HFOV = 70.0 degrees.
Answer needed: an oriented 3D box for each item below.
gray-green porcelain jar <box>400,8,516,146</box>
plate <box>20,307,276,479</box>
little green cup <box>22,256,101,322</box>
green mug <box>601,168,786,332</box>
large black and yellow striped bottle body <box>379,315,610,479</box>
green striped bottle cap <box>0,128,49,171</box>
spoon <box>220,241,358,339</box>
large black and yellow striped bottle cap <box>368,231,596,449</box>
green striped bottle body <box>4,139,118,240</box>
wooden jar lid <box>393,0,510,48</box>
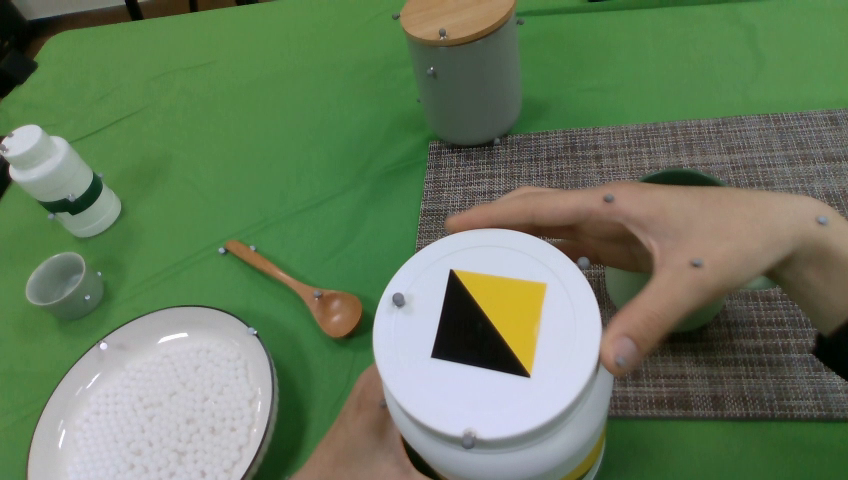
[{"bbox_3d":[0.038,-0.167,0.608,0.106,0.128,0.105,-6,49,8],"label":"gray-green porcelain jar"},{"bbox_3d":[-0.216,0.152,0.493,0.209,0.038,0.207,-6,53,9],"label":"plate"},{"bbox_3d":[-0.356,0.050,0.599,0.061,0.039,0.061,-7,52,9],"label":"little green cup"},{"bbox_3d":[0.198,0.011,0.452,0.125,0.106,0.092,5,56,17],"label":"green mug"},{"bbox_3d":[0.046,0.092,0.380,0.130,0.186,0.129,-6,58,10],"label":"large black and yellow striped bottle body"},{"bbox_3d":[-0.393,-0.089,0.592,0.044,0.020,0.044,-5,55,7],"label":"green striped bottle cap"},{"bbox_3d":[-0.132,0.038,0.566,0.192,0.022,0.041,27,81,28],"label":"spoon"},{"bbox_3d":[0.028,0.046,0.307,0.115,0.019,0.114,-5,58,8],"label":"large black and yellow striped bottle cap"},{"bbox_3d":[-0.383,-0.058,0.633,0.063,0.120,0.062,-7,53,9],"label":"green striped bottle body"},{"bbox_3d":[0.026,-0.208,0.561,0.108,0.021,0.107,-9,51,11],"label":"wooden jar lid"}]
